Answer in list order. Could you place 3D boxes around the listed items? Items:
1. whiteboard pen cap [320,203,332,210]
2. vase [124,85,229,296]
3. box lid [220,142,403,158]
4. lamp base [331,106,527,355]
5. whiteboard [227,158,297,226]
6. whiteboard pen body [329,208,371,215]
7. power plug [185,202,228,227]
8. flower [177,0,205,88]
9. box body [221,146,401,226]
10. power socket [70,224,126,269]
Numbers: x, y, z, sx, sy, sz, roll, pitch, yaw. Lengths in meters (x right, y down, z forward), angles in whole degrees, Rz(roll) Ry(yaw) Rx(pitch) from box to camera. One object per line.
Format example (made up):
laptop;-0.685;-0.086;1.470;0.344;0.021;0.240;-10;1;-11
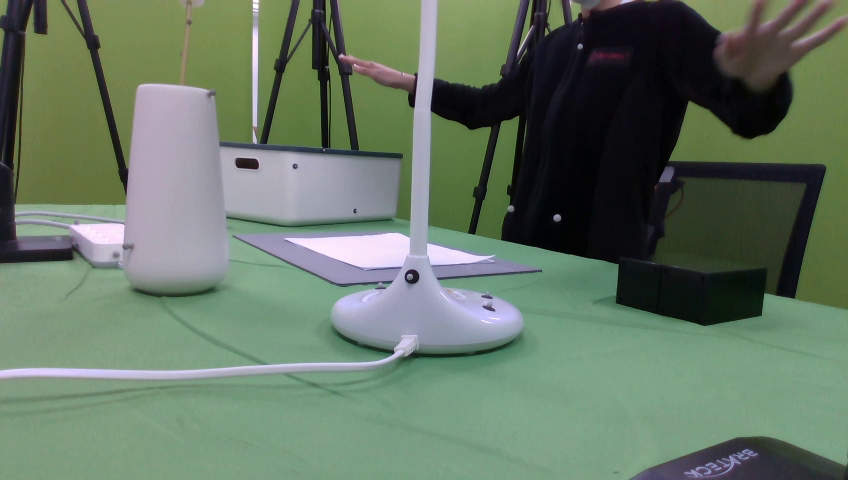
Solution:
whiteboard pen cap;-0.247;-0.084;1.531;0.033;0.018;0.018;10;10;39
vase;-0.244;-0.047;0.598;0.098;0.200;0.098;3;8;0
box lid;-0.252;-0.202;1.368;0.262;0.015;0.373;9;9;36
lamp base;0.006;-0.012;0.478;0.161;0.180;0.179;2;10;2
whiteboard;-0.265;-0.116;1.372;0.216;0.143;0.307;4;7;35
whiteboard pen body;-0.189;-0.073;1.521;0.140;0.017;0.017;3;6;37
power plug;-0.408;-0.044;1.151;0.072;0.052;0.035;-17;5;15
flower;-0.243;-0.131;0.609;0.044;0.361;0.038;-5;-12;11
box body;-0.254;-0.128;1.379;0.253;0.160;0.366;8;9;36
power socket;-0.409;0.004;0.792;0.072;0.032;0.225;-2;8;-37
